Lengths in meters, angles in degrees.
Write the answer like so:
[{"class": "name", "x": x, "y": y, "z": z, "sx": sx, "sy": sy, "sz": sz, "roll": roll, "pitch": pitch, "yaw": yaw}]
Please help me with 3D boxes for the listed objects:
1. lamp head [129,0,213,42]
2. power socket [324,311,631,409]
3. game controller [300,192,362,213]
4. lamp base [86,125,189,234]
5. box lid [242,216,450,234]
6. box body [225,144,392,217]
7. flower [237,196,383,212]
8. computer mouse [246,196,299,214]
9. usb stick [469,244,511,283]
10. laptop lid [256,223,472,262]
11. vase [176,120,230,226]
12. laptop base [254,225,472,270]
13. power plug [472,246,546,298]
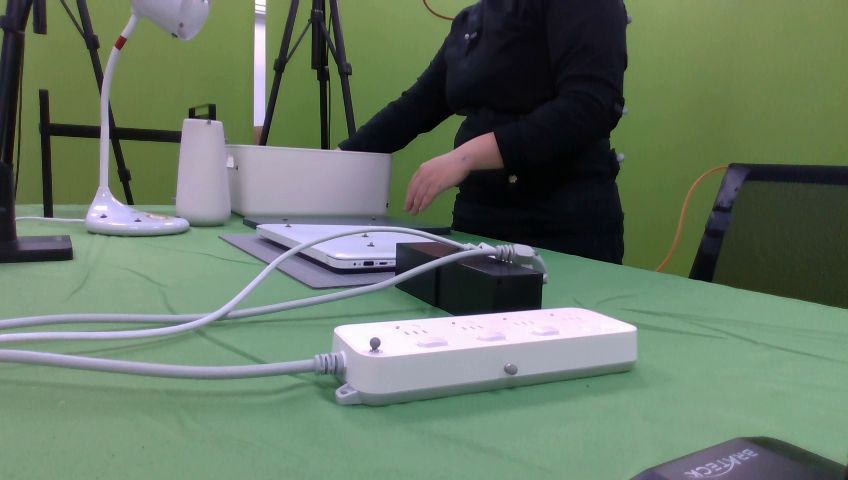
[{"class": "lamp head", "x": -0.423, "y": -0.394, "z": 0.980, "sx": 0.123, "sy": 0.112, "sz": 0.112, "roll": 20, "pitch": 7, "yaw": -3}, {"class": "power socket", "x": 0.042, "y": 0.075, "z": 0.410, "sx": 0.228, "sy": 0.032, "sz": 0.072, "roll": -1, "pitch": 8, "yaw": -25}, {"class": "game controller", "x": -0.241, "y": -0.097, "z": 1.550, "sx": 0.155, "sy": 0.051, "sz": 0.097, "roll": 2, "pitch": 8, "yaw": 4}, {"class": "lamp base", "x": -0.497, "y": -0.105, "z": 1.027, "sx": 0.179, "sy": 0.180, "sz": 0.160, "roll": 1, "pitch": 7, "yaw": 3}, {"class": "box lid", "x": -0.162, "y": -0.030, "z": 1.233, "sx": 0.373, "sy": 0.015, "sz": 0.262, "roll": -1, "pitch": 8, "yaw": -32}, {"class": "box body", "x": -0.289, "y": -0.143, "z": 1.475, "sx": 0.366, "sy": 0.160, "sz": 0.253, "roll": -1, "pitch": 9, "yaw": -29}, {"class": "flower", "x": -0.281, "y": -0.082, "z": 1.488, "sx": 0.362, "sy": 0.038, "sz": 0.044, "roll": 3, "pitch": 32, "yaw": 4}, {"class": "computer mouse", "x": -0.355, "y": -0.083, "z": 1.418, "sx": 0.117, "sy": 0.041, "sz": 0.063, "roll": 0, "pitch": 10, "yaw": 7}, {"class": "usb stick", "x": 0.080, "y": 0.029, "z": 0.674, "sx": 0.059, "sy": 0.021, "sz": 0.027, "roll": 28, "pitch": 26, "yaw": -29}, {"class": "laptop lid", "x": -0.092, "y": 0.000, "z": 0.912, "sx": 0.243, "sy": 0.013, "sz": 0.355, "roll": 1, "pitch": 7, "yaw": -30}, {"class": "vase", "x": -0.425, "y": -0.128, "z": 1.159, "sx": 0.098, "sy": 0.200, "sz": 0.098, "roll": 2, "pitch": 9, "yaw": 0}, {"class": "laptop base", "x": -0.095, "y": 0.011, "z": 0.912, "sx": 0.237, "sy": 0.023, "sz": 0.352, "roll": 3, "pitch": 6, "yaw": -32}, {"class": "power plug", "x": 0.081, "y": 0.030, "z": 0.584, "sx": 0.072, "sy": 0.052, "sz": 0.035, "roll": 11, "pitch": 27, "yaw": 9}]
